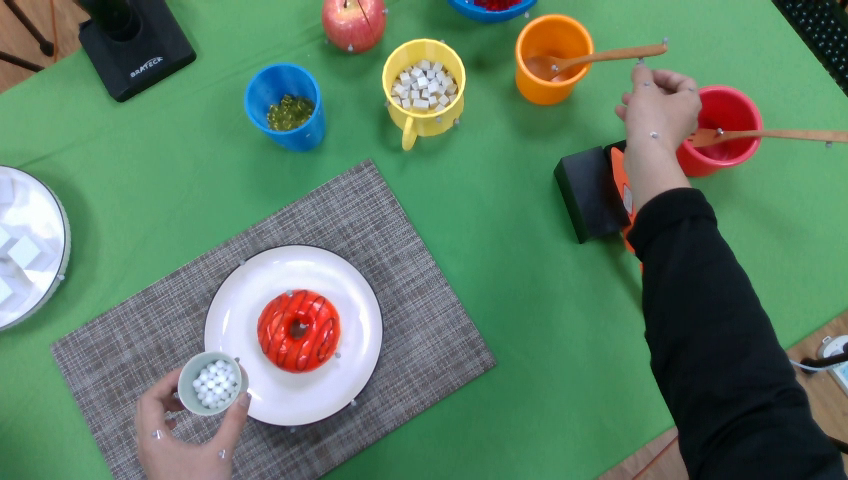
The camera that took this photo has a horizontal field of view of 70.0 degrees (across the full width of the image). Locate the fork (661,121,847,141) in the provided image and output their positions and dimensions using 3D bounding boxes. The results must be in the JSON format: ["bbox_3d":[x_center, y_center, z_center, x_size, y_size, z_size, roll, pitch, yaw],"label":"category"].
[{"bbox_3d":[0.373,-0.125,0.687,0.205,0.019,0.028,10,63,45],"label":"fork"}]

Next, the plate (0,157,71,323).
[{"bbox_3d":[-0.529,0.003,0.738,0.208,0.039,0.207,0,81,1],"label":"plate"}]

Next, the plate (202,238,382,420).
[{"bbox_3d":[-0.151,0.102,0.710,0.209,0.038,0.208,0,81,1],"label":"plate"}]

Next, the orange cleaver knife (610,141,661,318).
[{"bbox_3d":[0.243,-0.011,0.703,0.012,0.076,0.212,-17,110,1],"label":"orange cleaver knife"}]

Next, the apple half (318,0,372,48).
[{"bbox_3d":[-0.104,-0.277,0.758,0.053,0.075,0.080,-26,84,0],"label":"apple half"}]

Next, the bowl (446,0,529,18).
[{"bbox_3d":[0.080,-0.340,0.762,0.151,0.077,0.151,0,81,1],"label":"bowl"}]

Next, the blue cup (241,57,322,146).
[{"bbox_3d":[-0.161,-0.156,0.725,0.092,0.100,0.092,0,82,0],"label":"blue cup"}]

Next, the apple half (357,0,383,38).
[{"bbox_3d":[-0.068,-0.295,0.759,0.033,0.081,0.081,-25,80,-1],"label":"apple half"}]

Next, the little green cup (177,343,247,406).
[{"bbox_3d":[-0.206,0.135,0.599,0.061,0.039,0.061,-1,70,3],"label":"little green cup"}]

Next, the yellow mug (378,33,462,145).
[{"bbox_3d":[-0.009,-0.178,0.743,0.100,0.064,0.130,16,82,3],"label":"yellow mug"}]

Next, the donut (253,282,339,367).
[{"bbox_3d":[-0.148,0.097,0.700,0.099,0.048,0.098,0,82,2],"label":"donut"}]

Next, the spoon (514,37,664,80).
[{"bbox_3d":[0.184,-0.214,0.704,0.022,0.192,0.041,25,78,-39],"label":"spoon"}]
